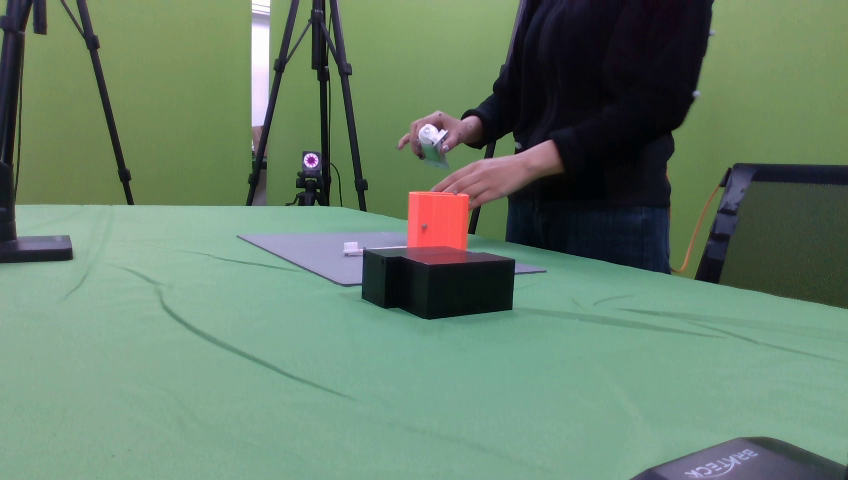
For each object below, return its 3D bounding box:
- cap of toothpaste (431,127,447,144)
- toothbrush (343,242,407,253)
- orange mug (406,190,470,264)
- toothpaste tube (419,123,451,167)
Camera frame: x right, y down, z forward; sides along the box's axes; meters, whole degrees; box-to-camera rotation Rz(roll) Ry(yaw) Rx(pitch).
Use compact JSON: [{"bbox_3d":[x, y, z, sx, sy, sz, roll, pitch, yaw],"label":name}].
[{"bbox_3d":[0.024,-0.175,1.005,0.011,0.037,0.037,46,1,-8],"label":"cap of toothpaste"},{"bbox_3d":[-0.039,0.010,0.905,0.183,0.016,0.014,-1,-7,-35],"label":"toothbrush"},{"bbox_3d":[0.027,-0.023,0.866,0.083,0.101,0.126,6,12,24],"label":"orange mug"},{"bbox_3d":[0.018,-0.169,1.094,0.055,0.034,0.165,20,-10,10],"label":"toothpaste tube"}]
